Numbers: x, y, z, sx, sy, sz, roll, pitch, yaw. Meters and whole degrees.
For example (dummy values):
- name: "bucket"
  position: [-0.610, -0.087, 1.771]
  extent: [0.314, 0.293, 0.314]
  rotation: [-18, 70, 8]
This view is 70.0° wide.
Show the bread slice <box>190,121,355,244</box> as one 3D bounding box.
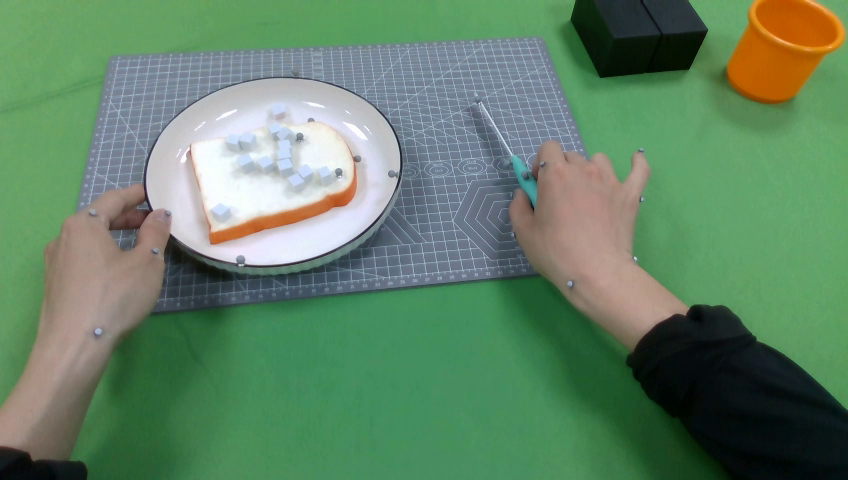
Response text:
- name: "bread slice"
  position: [-0.127, -0.059, 0.516]
  extent: [0.132, 0.019, 0.104]
  rotation: [-18, 59, -15]

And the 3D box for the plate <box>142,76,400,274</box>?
- name: "plate"
  position: [-0.124, -0.056, 0.512]
  extent: [0.209, 0.038, 0.207]
  rotation: [2, 56, -3]

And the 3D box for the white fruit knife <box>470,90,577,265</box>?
- name: "white fruit knife"
  position: [0.082, -0.066, 0.540]
  extent: [0.016, 0.028, 0.205]
  rotation: [-28, 58, 5]
